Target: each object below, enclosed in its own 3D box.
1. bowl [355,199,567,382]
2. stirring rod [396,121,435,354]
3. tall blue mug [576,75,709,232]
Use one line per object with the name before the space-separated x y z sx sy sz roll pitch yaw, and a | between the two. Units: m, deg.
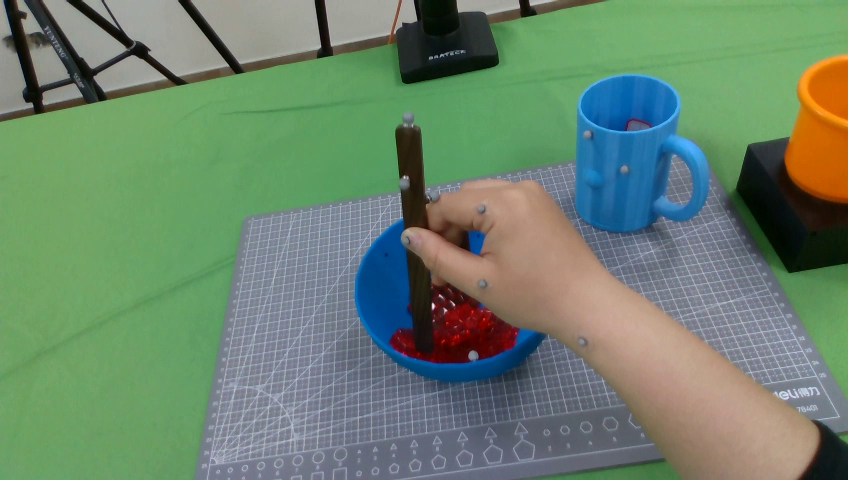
bowl | 0.031 0.049 0.452 0.151 0.077 0.150 -6 47 7
stirring rod | -0.003 0.009 0.359 0.014 0.178 0.006 4 40 9
tall blue mug | 0.181 -0.067 0.501 0.106 0.109 0.077 12 52 22
